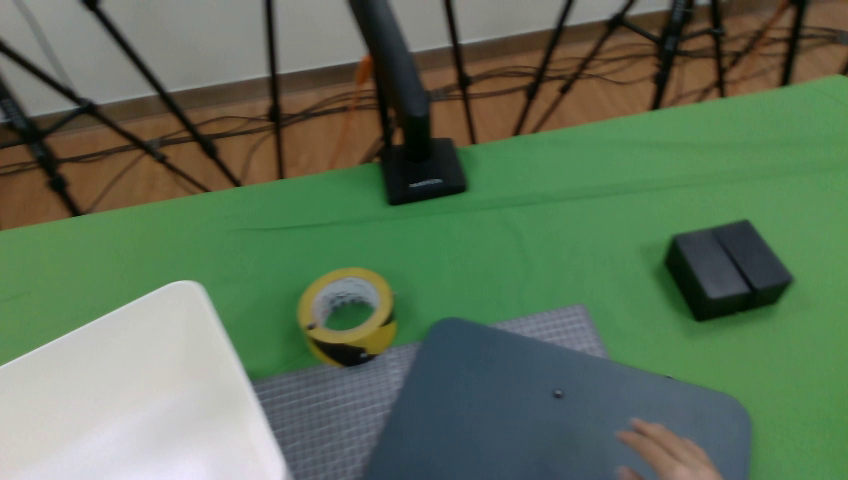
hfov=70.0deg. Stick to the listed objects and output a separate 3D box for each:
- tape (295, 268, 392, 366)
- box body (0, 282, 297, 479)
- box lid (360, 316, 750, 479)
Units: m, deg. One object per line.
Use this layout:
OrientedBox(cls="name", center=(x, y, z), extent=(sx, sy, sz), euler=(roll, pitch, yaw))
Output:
OrientedBox(cls="tape", center=(-0.096, 0.091, 0.728), extent=(0.117, 0.053, 0.115), euler=(-2, 48, 3))
OrientedBox(cls="box body", center=(-0.312, 0.242, 0.546), extent=(0.364, 0.162, 0.251), euler=(-29, 54, -18))
OrientedBox(cls="box lid", center=(0.137, 0.228, 0.625), extent=(0.370, 0.015, 0.261), euler=(14, 53, 15))
